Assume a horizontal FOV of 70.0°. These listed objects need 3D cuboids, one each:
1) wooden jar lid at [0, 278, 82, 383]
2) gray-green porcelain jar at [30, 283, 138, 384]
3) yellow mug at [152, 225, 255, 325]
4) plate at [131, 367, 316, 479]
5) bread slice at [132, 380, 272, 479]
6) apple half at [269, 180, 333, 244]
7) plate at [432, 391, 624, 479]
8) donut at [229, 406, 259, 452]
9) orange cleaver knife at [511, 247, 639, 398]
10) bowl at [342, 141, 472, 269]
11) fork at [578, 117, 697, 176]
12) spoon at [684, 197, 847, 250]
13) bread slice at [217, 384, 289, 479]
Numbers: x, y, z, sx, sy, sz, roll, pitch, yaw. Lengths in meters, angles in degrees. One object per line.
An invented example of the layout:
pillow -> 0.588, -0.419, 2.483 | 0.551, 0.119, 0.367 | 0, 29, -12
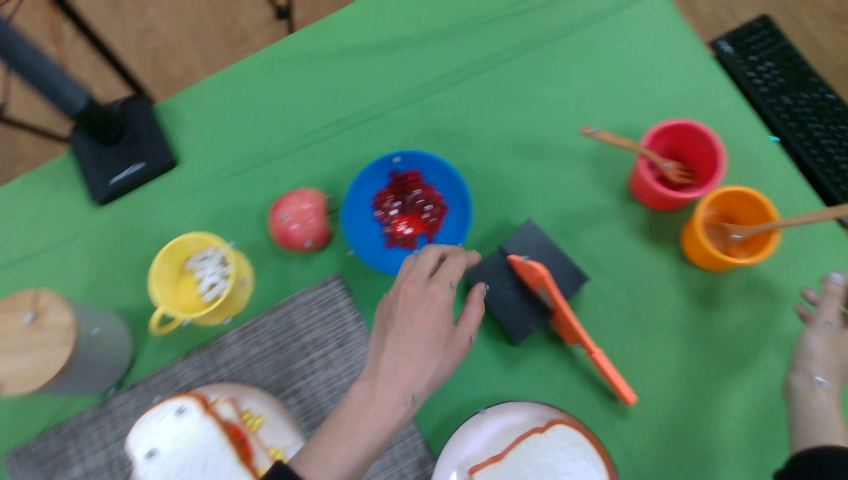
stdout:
wooden jar lid -> -0.406, 0.094, 0.628 | 0.108, 0.021, 0.107 | -1, 73, 3
gray-green porcelain jar -> -0.401, 0.110, 0.690 | 0.106, 0.127, 0.105 | -1, 75, 4
yellow mug -> -0.273, 0.050, 0.728 | 0.099, 0.064, 0.130 | 38, 82, 12
plate -> -0.222, 0.250, 0.686 | 0.207, 0.039, 0.206 | -1, 76, 3
bread slice -> -0.230, 0.209, 0.605 | 0.105, 0.019, 0.131 | -33, 90, 2
apple half -> -0.155, -0.038, 0.749 | 0.074, 0.053, 0.080 | -7, 76, 4
plate -> 0.112, 0.272, 0.664 | 0.209, 0.038, 0.208 | -1, 76, 4
donut -> -0.230, 0.229, 0.663 | 0.099, 0.048, 0.098 | -1, 76, 4
orange cleaver knife -> 0.167, 0.092, 0.681 | 0.012, 0.077, 0.212 | -39, 98, -13
bowl -> -0.017, -0.033, 0.725 | 0.151, 0.077, 0.150 | -1, 76, 4
fork -> 0.249, -0.106, 0.690 | 0.209, 0.018, 0.028 | 13, 72, -36
spoon -> 0.382, -0.023, 0.662 | 0.022, 0.193, 0.041 | 10, 72, -39
bread slice -> -0.218, 0.246, 0.687 | 0.134, 0.018, 0.107 | 43, 83, 10
